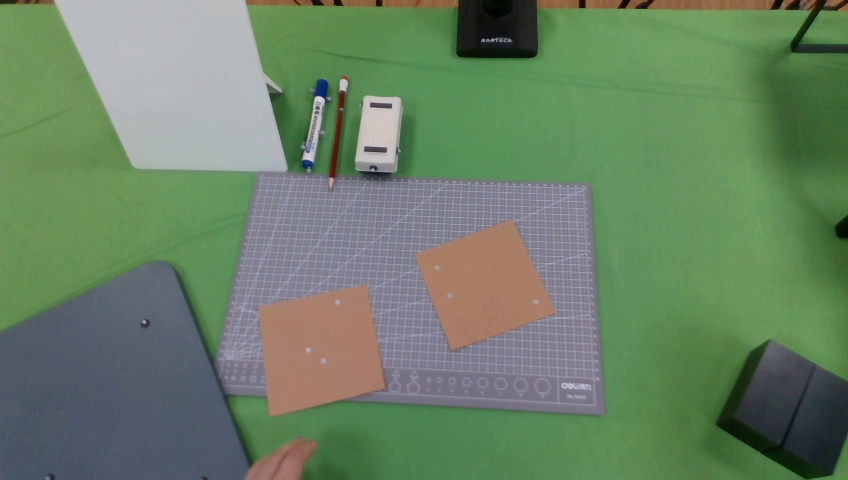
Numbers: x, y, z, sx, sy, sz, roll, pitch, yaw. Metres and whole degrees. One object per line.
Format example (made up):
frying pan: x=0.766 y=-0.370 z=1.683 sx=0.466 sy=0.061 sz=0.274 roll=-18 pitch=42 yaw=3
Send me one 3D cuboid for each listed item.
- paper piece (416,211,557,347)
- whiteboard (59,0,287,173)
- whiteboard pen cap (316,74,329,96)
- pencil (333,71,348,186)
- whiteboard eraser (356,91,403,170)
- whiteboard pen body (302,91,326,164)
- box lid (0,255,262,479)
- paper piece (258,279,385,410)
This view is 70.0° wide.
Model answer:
paper piece: x=0.074 y=0.046 z=0.741 sx=0.136 sy=0.009 sz=0.137 roll=-20 pitch=68 yaw=-2
whiteboard: x=-0.290 y=-0.251 z=0.768 sx=0.217 sy=0.308 sz=0.142 roll=2 pitch=46 yaw=4
whiteboard pen cap: x=-0.146 y=-0.221 z=0.871 sx=0.018 sy=0.018 sz=0.033 roll=1 pitch=64 yaw=4
pencil: x=-0.117 y=-0.158 z=0.845 sx=0.012 sy=0.012 sz=0.192 roll=0 pitch=65 yaw=3
whiteboard eraser: x=-0.059 y=-0.148 z=0.821 sx=0.055 sy=0.042 sz=0.112 roll=1 pitch=65 yaw=5
whiteboard pen body: x=-0.152 y=-0.168 z=0.848 sx=0.017 sy=0.017 sz=0.139 roll=3 pitch=65 yaw=5
box lid: x=-0.353 y=0.210 z=0.684 sx=0.263 sy=0.015 sz=0.368 roll=-27 pitch=67 yaw=-9
paper piece: x=-0.123 y=0.119 z=0.715 sx=0.135 sy=0.004 sz=0.134 roll=-11 pitch=66 yaw=-3
